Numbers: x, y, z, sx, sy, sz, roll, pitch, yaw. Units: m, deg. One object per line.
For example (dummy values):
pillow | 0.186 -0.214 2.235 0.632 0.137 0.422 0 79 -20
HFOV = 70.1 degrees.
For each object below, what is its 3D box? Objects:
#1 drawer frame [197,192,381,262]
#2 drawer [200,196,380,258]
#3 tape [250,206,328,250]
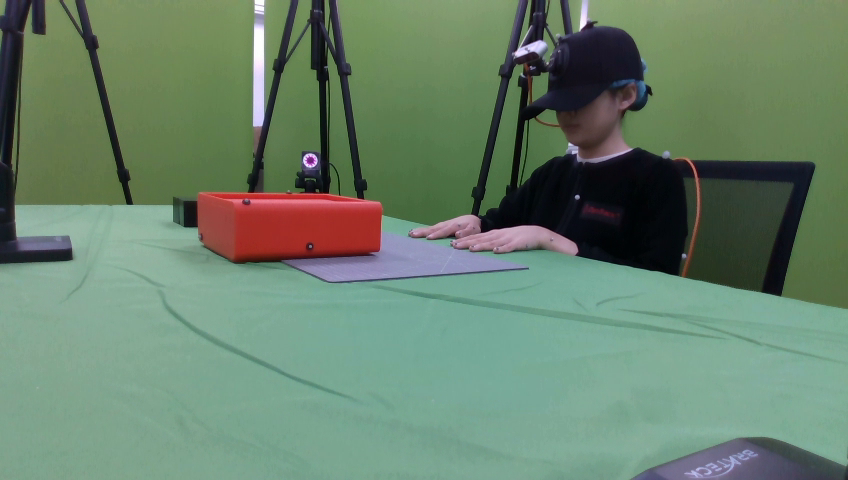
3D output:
drawer frame | -0.202 -0.026 0.892 0.215 0.082 0.200 -3 10 -34
drawer | -0.200 -0.024 0.894 0.213 0.073 0.193 -3 10 -33
tape | -0.202 -0.019 0.902 0.117 0.052 0.117 3 8 0
